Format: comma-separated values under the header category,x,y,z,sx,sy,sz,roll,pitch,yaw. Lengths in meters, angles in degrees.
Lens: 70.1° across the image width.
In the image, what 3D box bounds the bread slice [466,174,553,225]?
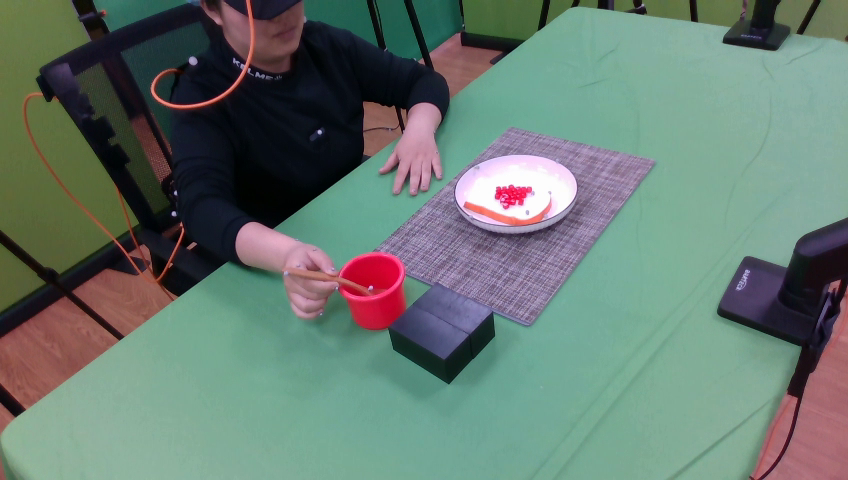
category,x,y,z,sx,sy,sz,roll,pitch,yaw
bread slice,0.152,-0.067,1.022,0.130,0.019,0.105,22,50,34

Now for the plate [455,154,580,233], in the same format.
category,x,y,z,sx,sy,sz,roll,pitch,yaw
plate,0.158,-0.076,1.028,0.209,0.038,0.208,-5,40,5

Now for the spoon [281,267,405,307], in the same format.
category,x,y,z,sx,sy,sz,roll,pitch,yaw
spoon,-0.108,0.062,0.838,0.021,0.195,0.041,-53,38,19
